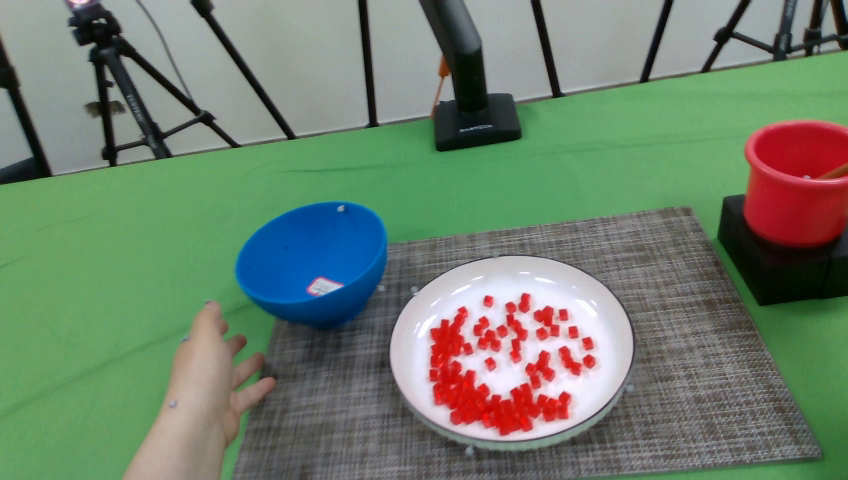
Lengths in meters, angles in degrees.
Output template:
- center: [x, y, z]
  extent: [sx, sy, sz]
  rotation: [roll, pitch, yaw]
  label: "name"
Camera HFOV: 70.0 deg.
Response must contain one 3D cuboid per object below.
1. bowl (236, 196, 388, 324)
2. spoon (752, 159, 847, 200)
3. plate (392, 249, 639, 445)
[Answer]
- center: [-0.102, 0.031, 0.612]
  extent: [0.151, 0.077, 0.150]
  rotation: [-7, 40, 7]
  label: "bowl"
- center: [0.343, -0.060, 0.477]
  extent: [0.041, 0.193, 0.021]
  rotation: [-29, 88, -20]
  label: "spoon"
- center: [0.077, 0.089, 0.528]
  extent: [0.207, 0.039, 0.205]
  rotation: [-7, 40, 7]
  label: "plate"
